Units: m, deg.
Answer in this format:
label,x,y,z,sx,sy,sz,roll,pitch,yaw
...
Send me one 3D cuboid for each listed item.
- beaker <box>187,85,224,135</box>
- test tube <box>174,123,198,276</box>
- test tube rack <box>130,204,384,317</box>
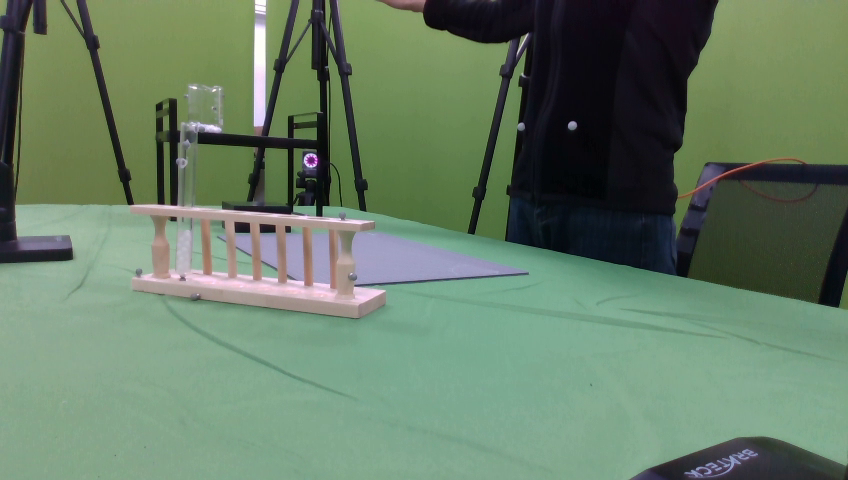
label,x,y,z,sx,sy,sz,roll,pitch,yaw
beaker,-0.466,-0.276,1.296,0.074,0.100,0.083,-3,10,-35
test tube,-0.232,-0.038,0.588,0.017,0.150,0.017,6,9,-1
test tube rack,-0.162,0.013,0.589,0.242,0.085,0.067,5,8,17
